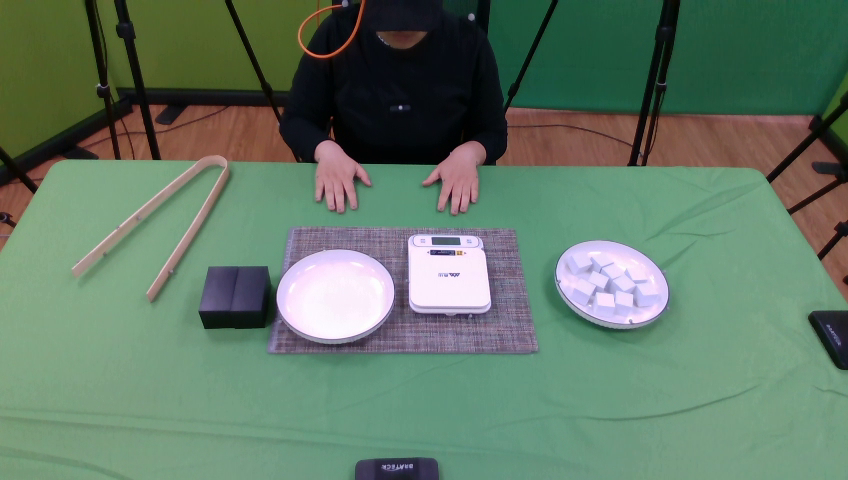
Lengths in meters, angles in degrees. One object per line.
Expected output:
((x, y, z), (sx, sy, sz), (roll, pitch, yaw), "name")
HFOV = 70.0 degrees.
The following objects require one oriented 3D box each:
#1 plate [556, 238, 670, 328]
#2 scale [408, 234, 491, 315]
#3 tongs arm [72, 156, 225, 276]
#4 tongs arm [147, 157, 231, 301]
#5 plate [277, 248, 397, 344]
((0.347, 0.083, 1.130), (0.209, 0.038, 0.208), (2, 47, -2), "plate")
((0.045, 0.055, 1.135), (0.149, 0.032, 0.199), (1, 46, -3), "scale")
((-0.531, -0.058, 1.205), (0.050, 0.026, 0.383), (19, 47, 13), "tongs arm")
((-0.453, -0.035, 1.194), (0.028, 0.028, 0.385), (7, 46, 6), "tongs arm")
((-0.152, 0.101, 1.073), (0.208, 0.039, 0.206), (2, 46, -2), "plate")
